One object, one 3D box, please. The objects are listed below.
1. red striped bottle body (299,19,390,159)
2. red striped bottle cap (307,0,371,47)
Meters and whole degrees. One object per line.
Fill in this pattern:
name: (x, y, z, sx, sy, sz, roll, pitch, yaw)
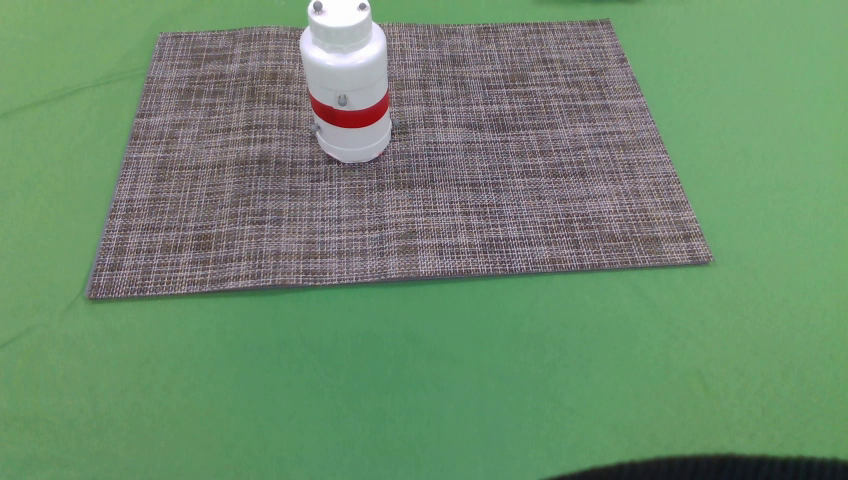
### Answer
red striped bottle body: (-0.059, -0.124, 0.465, 0.063, 0.120, 0.062, 0, 55, 0)
red striped bottle cap: (-0.059, -0.155, 0.423, 0.044, 0.018, 0.044, 2, 57, -2)
